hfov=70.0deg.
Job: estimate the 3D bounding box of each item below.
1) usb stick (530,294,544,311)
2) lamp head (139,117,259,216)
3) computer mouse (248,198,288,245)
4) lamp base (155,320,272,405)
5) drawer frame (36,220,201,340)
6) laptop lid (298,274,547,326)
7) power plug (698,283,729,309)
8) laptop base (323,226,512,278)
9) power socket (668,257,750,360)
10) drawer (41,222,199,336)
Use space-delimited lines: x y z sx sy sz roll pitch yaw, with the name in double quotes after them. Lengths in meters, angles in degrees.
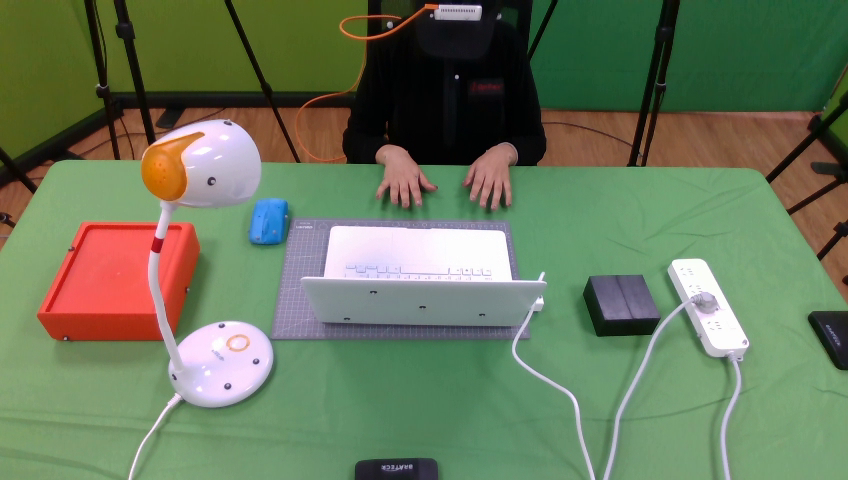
0.183 0.111 1.086 0.059 0.027 0.021 0 47 -4 "usb stick"
-0.281 -0.086 0.734 0.112 0.113 0.123 21 25 16 "lamp head"
-0.309 -0.041 1.205 0.063 0.041 0.116 3 50 -3 "computer mouse"
-0.330 0.149 0.918 0.160 0.181 0.179 26 52 20 "lamp base"
-0.518 0.065 1.055 0.202 0.083 0.212 0 47 -5 "drawer frame"
-0.004 0.099 0.947 0.357 0.242 0.013 2 67 -4 "laptop lid"
0.510 0.097 1.062 0.052 0.073 0.035 -17 62 5 "power plug"
-0.010 0.063 1.137 0.354 0.023 0.234 1 42 -3 "laptop base"
0.517 0.117 1.110 0.072 0.033 0.225 -3 47 -4 "power socket"
-0.519 0.064 1.058 0.195 0.073 0.210 1 46 -4 "drawer"
